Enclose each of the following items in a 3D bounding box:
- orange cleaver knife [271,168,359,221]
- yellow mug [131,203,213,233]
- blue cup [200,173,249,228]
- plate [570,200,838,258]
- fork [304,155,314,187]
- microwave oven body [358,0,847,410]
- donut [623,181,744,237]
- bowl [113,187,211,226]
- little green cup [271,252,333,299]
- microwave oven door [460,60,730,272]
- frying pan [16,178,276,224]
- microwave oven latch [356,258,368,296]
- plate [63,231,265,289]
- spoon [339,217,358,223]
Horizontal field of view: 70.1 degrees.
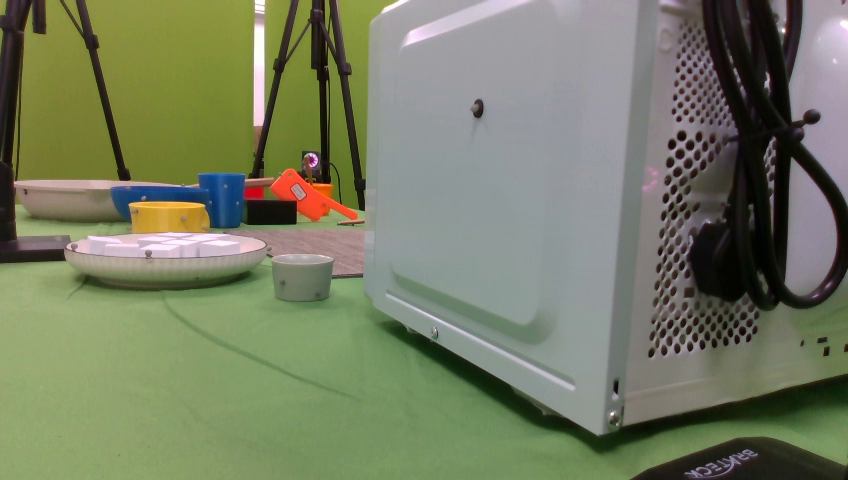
[{"bbox_3d":[-0.236,-0.084,1.333,0.212,0.077,0.012,31,-10,-32],"label":"orange cleaver knife"},{"bbox_3d":[-0.356,-0.020,0.878,0.099,0.064,0.131,4,7,22],"label":"yellow mug"},{"bbox_3d":[-0.380,-0.076,1.154,0.093,0.100,0.092,0,8,0],"label":"blue cup"},{"bbox_3d":[0.233,-0.012,0.523,0.209,0.038,0.209,0,6,0],"label":"plate"},{"bbox_3d":[-0.268,-0.134,1.446,0.028,0.018,0.207,1,-36,-1],"label":"fork"},{"bbox_3d":[0.210,-0.051,0.471,0.444,0.260,0.324,-1,7,-28],"label":"microwave oven body"},{"bbox_3d":[0.225,-0.028,0.530,0.099,0.048,0.099,1,7,0],"label":"donut"},{"bbox_3d":[-0.436,-0.046,1.013,0.151,0.077,0.151,2,7,0],"label":"bowl"},{"bbox_3d":[-0.122,0.035,0.605,0.061,0.038,0.061,3,6,0],"label":"little green cup"},{"bbox_3d":[0.203,-0.100,0.803,0.354,0.243,0.039,7,9,39],"label":"microwave oven door"},{"bbox_3d":[-0.553,-0.096,1.266,0.490,0.102,0.305,-10,13,-24],"label":"frying pan"},{"bbox_3d":[-0.019,0.031,0.528,0.079,0.029,0.030,-1,7,-25],"label":"microwave oven latch"},{"bbox_3d":[-0.288,0.021,0.687,0.208,0.039,0.207,2,8,0],"label":"plate"},{"bbox_3d":[-0.087,-0.041,1.268,0.193,0.021,0.041,4,24,13],"label":"spoon"}]
